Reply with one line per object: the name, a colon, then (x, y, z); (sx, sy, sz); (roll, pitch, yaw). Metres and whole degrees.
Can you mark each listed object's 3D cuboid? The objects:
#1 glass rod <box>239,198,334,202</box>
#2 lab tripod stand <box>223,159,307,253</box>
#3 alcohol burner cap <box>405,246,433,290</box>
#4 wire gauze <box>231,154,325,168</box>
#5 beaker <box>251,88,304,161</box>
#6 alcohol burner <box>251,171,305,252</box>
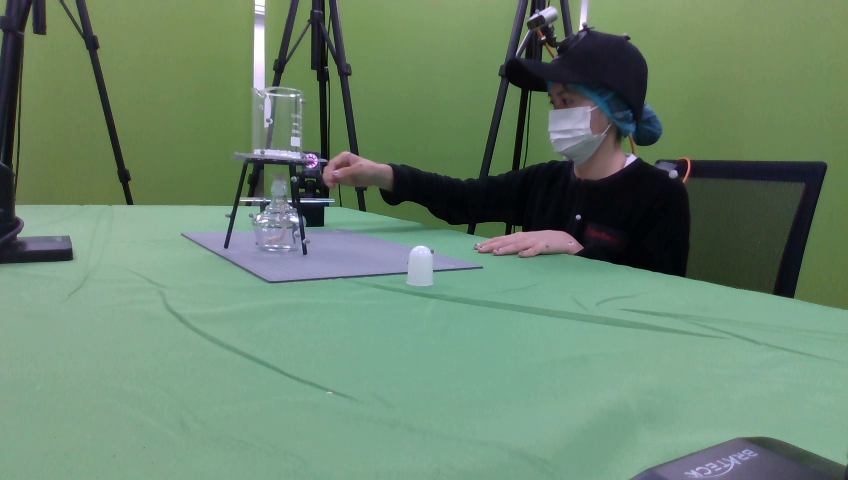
glass rod: (-0.277, -0.081, 1.232); (0.201, 0.008, 0.008); (-1, 8, -30)
lab tripod stand: (-0.220, -0.053, 0.896); (0.148, 0.131, 0.148); (1, 6, 0)
alcohol burner cap: (-0.005, 0.031, 0.698); (0.034, 0.048, 0.034); (3, 8, 0)
wire gauze: (-0.215, -0.117, 0.882); (0.125, 0.011, 0.121); (3, 7, -19)
beaker: (-0.214, -0.165, 0.874); (0.074, 0.100, 0.084); (4, 6, 15)
alcohol burner: (-0.214, -0.042, 0.888); (0.078, 0.119, 0.078); (2, 9, 0)
